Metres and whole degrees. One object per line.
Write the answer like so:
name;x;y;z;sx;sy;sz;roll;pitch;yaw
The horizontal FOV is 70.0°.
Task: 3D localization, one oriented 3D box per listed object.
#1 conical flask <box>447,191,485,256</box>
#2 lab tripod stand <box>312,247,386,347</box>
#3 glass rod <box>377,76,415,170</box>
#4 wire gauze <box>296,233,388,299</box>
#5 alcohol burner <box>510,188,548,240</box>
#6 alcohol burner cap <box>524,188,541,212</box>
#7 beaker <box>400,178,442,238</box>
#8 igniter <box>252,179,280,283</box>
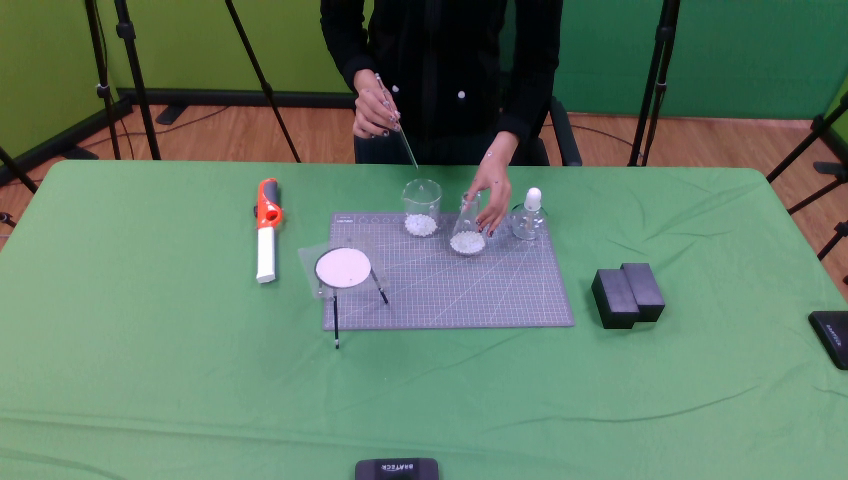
conical flask;0.084;-0.035;1.160;0.075;0.122;0.075;1;42;-1
lab tripod stand;-0.134;0.085;1.028;0.148;0.132;0.147;2;45;-1
glass rod;-0.049;-0.207;1.099;0.008;0.201;0.008;-13;40;11
wire gauze;-0.133;0.041;0.977;0.125;0.011;0.120;-12;47;-16
alcohol burner;0.211;-0.057;1.204;0.078;0.120;0.077;1;47;-1
alcohol burner cap;0.212;-0.081;1.177;0.034;0.048;0.033;-1;54;2
beaker;-0.008;-0.059;1.200;0.084;0.101;0.073;-15;48;-17
igniter;-0.312;-0.027;1.197;0.057;0.025;0.274;-12;47;-1
